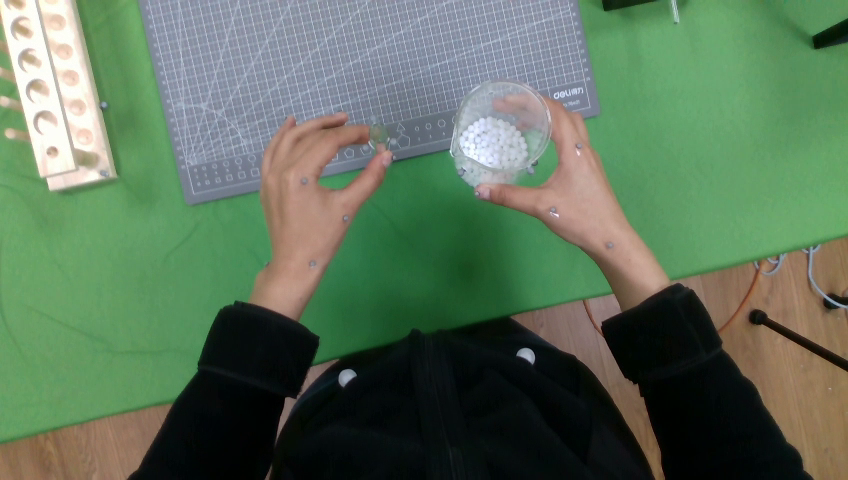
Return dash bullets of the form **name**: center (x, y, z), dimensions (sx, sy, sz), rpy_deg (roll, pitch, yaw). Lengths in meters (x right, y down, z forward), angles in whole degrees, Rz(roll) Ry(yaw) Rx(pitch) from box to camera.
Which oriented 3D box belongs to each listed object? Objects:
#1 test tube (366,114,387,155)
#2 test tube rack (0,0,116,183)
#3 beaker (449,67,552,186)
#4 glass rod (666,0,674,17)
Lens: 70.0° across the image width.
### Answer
- **test tube**: center (-0.041, -0.087, 0.516), dimensions (0.017, 0.150, 0.017), rpy_deg (0, 92, -5)
- **test tube rack**: center (-0.379, -0.183, 0.585), dimensions (0.067, 0.085, 0.242), rpy_deg (-13, 93, -2)
- **beaker**: center (0.057, -0.087, 0.505), dimensions (0.084, 0.100, 0.074), rpy_deg (-30, 85, -3)
- **glass rod**: center (0.228, -0.320, 0.597), dimensions (0.008, 0.008, 0.200), rpy_deg (-11, 93, -2)
